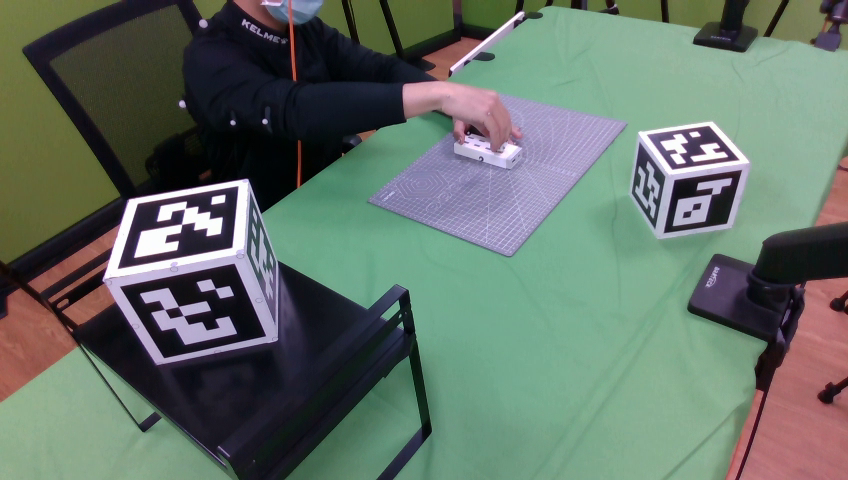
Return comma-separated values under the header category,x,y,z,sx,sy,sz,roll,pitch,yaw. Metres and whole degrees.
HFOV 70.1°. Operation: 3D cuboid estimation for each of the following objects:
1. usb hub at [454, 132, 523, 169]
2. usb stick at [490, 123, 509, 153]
category,x,y,z,sx,sy,sz,roll,pitch,yaw
usb hub,0.122,-0.170,1.144,0.124,0.025,0.049,22,48,29
usb stick,0.139,-0.183,1.102,0.021,0.059,0.027,16,53,30
